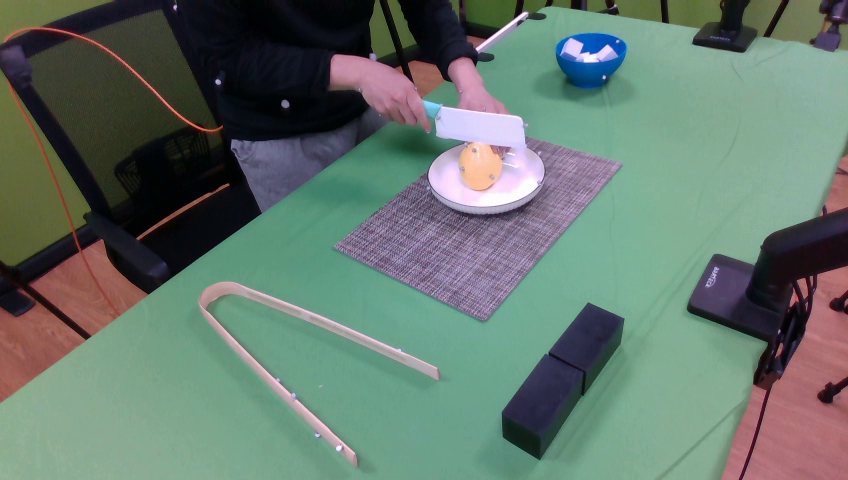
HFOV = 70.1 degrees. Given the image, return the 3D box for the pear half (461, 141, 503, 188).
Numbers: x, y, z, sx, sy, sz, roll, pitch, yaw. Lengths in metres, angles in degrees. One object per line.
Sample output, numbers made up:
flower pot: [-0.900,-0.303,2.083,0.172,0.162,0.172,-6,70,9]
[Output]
pear half: [0.101,-0.149,1.040,0.076,0.110,0.056,18,46,23]

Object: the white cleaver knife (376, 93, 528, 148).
white cleaver knife: [0.039,-0.198,1.008,0.284,0.066,0.021,16,42,26]

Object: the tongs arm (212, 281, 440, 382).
tongs arm: [-0.148,0.121,0.846,0.385,0.028,0.028,17,48,25]

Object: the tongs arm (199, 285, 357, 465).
tongs arm: [-0.199,0.162,0.797,0.381,0.026,0.051,28,50,35]

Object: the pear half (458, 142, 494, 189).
pear half: [0.083,-0.121,1.025,0.070,0.088,0.031,18,46,24]

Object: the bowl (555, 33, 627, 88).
bowl: [0.360,-0.384,1.318,0.151,0.077,0.150,-4,41,4]

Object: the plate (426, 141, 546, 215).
plate: [0.109,-0.107,1.059,0.207,0.039,0.206,-4,41,4]
